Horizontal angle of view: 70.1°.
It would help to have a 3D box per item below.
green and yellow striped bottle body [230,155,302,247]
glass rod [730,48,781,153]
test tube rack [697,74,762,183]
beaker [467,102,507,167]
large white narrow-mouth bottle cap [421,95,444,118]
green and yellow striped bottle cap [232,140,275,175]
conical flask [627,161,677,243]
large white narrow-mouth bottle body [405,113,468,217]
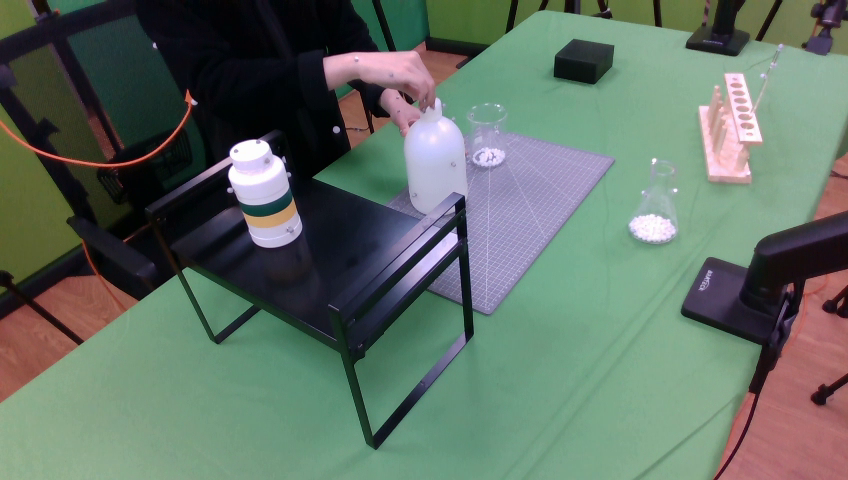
[{"bbox_3d":[-0.188,-0.055,0.714,0.063,0.120,0.063,-4,40,4],"label":"green and yellow striped bottle body"},{"bbox_3d":[0.554,-0.228,1.015,0.008,0.200,0.008,1,44,-1],"label":"glass rod"},{"bbox_3d":[0.547,-0.208,1.095,0.066,0.085,0.242,5,42,15],"label":"test tube rack"},{"bbox_3d":[0.121,-0.195,1.124,0.084,0.100,0.073,-34,48,-28],"label":"beaker"},{"bbox_3d":[0.013,-0.210,0.950,0.038,0.024,0.037,-3,39,3],"label":"large white narrow-mouth bottle cap"},{"bbox_3d":[-0.192,-0.093,0.680,0.045,0.020,0.045,-5,39,5],"label":"green and yellow striped bottle cap"},{"bbox_3d":[0.355,-0.061,0.921,0.075,0.122,0.075,-4,41,4],"label":"conical flask"},{"bbox_3d":[0.020,-0.141,1.004,0.102,0.195,0.101,-3,39,3],"label":"large white narrow-mouth bottle body"}]
